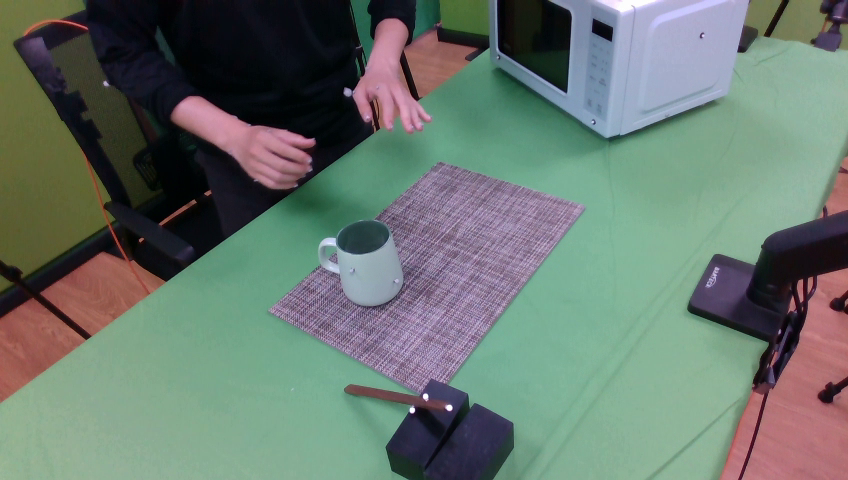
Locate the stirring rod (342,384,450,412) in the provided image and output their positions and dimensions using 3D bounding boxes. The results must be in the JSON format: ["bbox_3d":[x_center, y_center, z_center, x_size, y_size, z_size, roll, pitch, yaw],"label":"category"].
[{"bbox_3d":[-0.038,0.186,0.714,0.175,0.006,0.014,-3,22,43],"label":"stirring rod"}]

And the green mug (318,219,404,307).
[{"bbox_3d":[-0.095,0.032,0.876,0.125,0.105,0.092,8,43,17],"label":"green mug"}]

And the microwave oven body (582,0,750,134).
[{"bbox_3d":[0.382,-0.445,1.246,0.327,0.261,0.437,-22,42,-16],"label":"microwave oven body"}]

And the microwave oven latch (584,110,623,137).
[{"bbox_3d":[0.337,-0.222,1.142,0.030,0.029,0.078,-21,42,-14],"label":"microwave oven latch"}]

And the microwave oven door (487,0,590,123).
[{"bbox_3d":[0.232,-0.420,1.231,0.039,0.245,0.352,-22,43,-16],"label":"microwave oven door"}]
